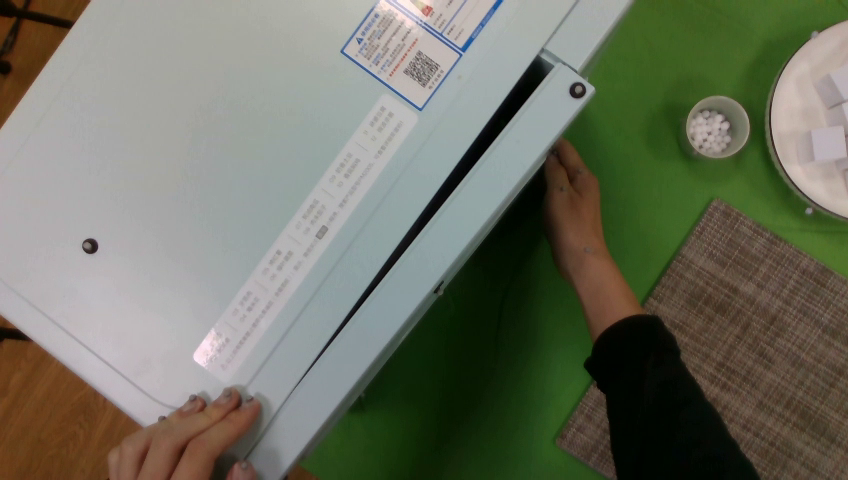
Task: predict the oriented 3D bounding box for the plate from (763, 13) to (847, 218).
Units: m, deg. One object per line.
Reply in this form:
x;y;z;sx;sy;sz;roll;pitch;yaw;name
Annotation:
0.439;-0.120;0.599;0.207;0.039;0.207;0;89;4;plate

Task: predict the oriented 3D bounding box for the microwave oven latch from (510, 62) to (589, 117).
0.124;-0.153;0.602;0.079;0.029;0.030;-37;88;3;microwave oven latch

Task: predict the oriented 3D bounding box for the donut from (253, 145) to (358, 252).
-0.109;-0.038;0.558;0.099;0.048;0.099;0;94;5;donut

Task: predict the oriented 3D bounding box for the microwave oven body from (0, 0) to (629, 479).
-0.104;-0.091;0.521;0.325;0.260;0.441;36;92;4;microwave oven body

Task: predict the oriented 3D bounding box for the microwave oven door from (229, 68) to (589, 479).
-0.007;0.034;0.507;0.039;0.244;0.356;39;92;5;microwave oven door

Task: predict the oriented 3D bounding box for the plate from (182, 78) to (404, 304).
-0.121;-0.044;0.572;0.209;0.038;0.209;0;92;4;plate

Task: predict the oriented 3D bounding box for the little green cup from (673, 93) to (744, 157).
0.283;-0.112;0.608;0.061;0.038;0.061;0;89;5;little green cup
